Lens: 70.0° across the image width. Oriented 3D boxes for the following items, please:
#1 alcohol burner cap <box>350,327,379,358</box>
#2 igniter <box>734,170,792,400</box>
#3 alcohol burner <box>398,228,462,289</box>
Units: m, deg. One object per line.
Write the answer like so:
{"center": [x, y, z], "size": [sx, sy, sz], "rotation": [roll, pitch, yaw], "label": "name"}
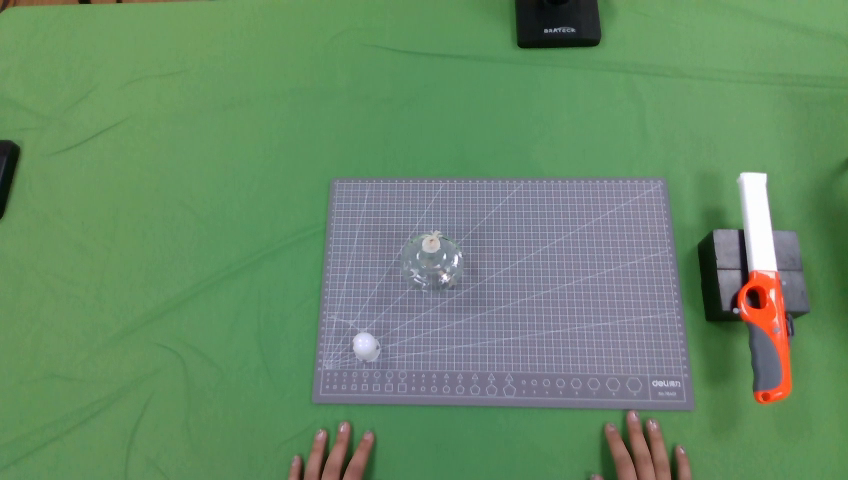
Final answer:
{"center": [-0.073, 0.122, 0.724], "size": [0.034, 0.048, 0.033], "rotation": [-1, 70, 4], "label": "alcohol burner cap"}
{"center": [0.385, 0.044, 0.697], "size": [0.057, 0.025, 0.274], "rotation": [4, 69, 7], "label": "igniter"}
{"center": [0.007, 0.016, 0.721], "size": [0.078, 0.120, 0.077], "rotation": [0, 69, 1], "label": "alcohol burner"}
